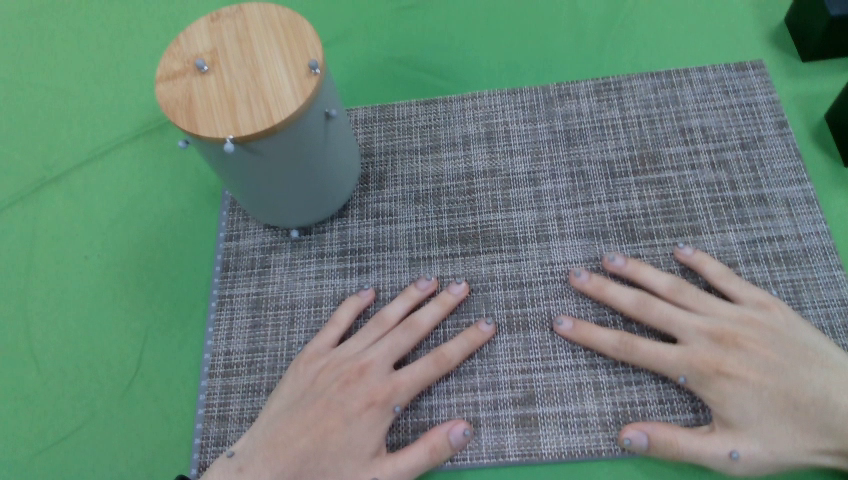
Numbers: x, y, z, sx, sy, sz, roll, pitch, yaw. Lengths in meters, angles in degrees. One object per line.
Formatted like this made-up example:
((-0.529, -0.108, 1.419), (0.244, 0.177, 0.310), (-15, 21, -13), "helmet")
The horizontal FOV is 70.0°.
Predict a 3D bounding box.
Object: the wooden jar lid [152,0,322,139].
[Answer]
((-0.117, -0.108, 0.389), (0.108, 0.021, 0.107), (-1, 67, 3), "wooden jar lid")

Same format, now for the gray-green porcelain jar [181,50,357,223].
((-0.109, -0.080, 0.444), (0.106, 0.127, 0.105), (-3, 64, 6), "gray-green porcelain jar")
